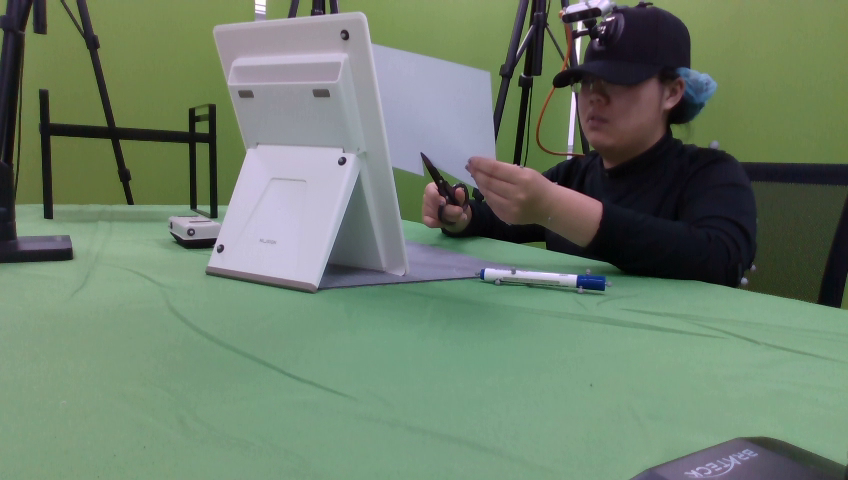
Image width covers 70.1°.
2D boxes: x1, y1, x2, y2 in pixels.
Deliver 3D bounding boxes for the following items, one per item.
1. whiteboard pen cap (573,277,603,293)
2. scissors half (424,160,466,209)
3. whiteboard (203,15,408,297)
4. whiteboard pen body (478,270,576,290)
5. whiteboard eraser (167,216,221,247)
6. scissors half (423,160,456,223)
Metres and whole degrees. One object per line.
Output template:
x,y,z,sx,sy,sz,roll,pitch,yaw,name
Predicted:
0.186,0.051,0.687,0.033,0.018,0.018,5,8,17,whiteboard pen cap
0.033,-0.091,0.968,0.012,0.040,0.176,36,1,28,scissors half
-0.166,-0.072,0.669,0.216,0.305,0.144,8,30,30,whiteboard
0.131,0.047,0.706,0.140,0.017,0.017,3,7,18,whiteboard pen body
-0.350,-0.013,0.920,0.056,0.042,0.112,0,7,-35,whiteboard eraser
0.021,-0.076,0.966,0.013,0.040,0.176,30,-18,28,scissors half
